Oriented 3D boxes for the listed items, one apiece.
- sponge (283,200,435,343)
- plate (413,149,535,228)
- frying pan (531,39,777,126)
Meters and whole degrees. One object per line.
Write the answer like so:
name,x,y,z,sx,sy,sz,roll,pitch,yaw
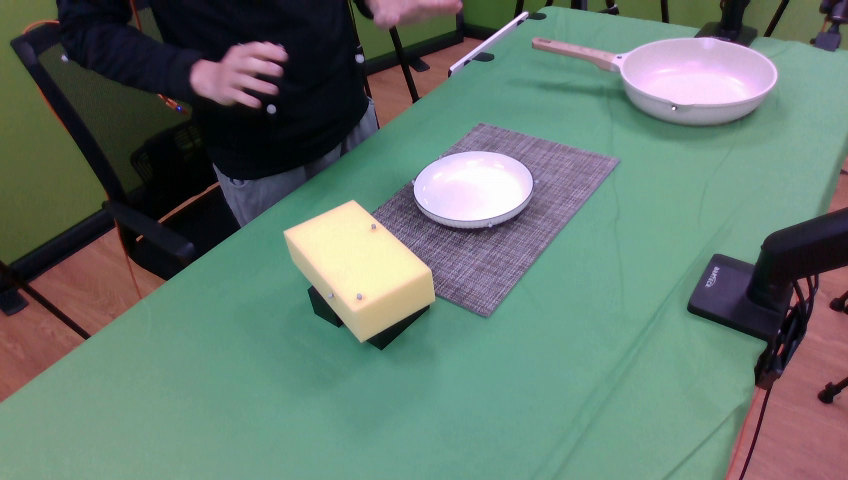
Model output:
sponge,-0.093,0.036,0.835,0.119,0.061,0.205,-29,45,-23
plate,0.086,-0.085,1.038,0.207,0.039,0.206,-4,40,4
frying pan,0.452,-0.354,1.254,0.485,0.103,0.307,22,47,19
